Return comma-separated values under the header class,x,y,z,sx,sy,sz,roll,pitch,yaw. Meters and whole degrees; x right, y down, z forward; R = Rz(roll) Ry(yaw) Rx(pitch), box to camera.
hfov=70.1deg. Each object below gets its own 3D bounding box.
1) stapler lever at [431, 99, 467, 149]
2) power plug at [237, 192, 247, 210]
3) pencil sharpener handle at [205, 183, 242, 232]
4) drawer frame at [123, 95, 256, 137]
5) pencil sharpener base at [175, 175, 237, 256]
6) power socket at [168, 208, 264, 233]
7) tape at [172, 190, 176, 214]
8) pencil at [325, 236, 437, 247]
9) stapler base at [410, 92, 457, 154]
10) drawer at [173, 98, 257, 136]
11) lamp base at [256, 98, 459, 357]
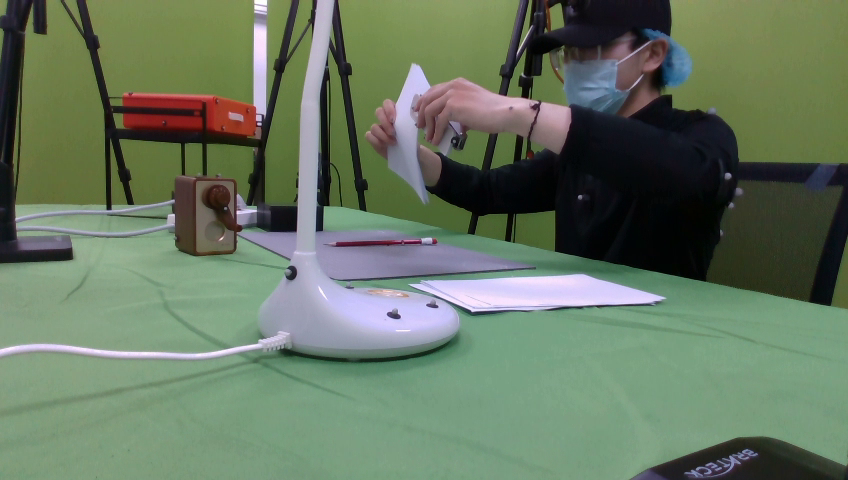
class,x,y,z,sx,sy,sz,roll,pitch,yaw
stapler lever,0.038,-0.177,0.915,0.040,0.027,0.117,-5,40,-29
power plug,-0.386,-0.071,1.204,0.072,0.052,0.035,6,9,26
pencil sharpener handle,-0.265,-0.043,0.813,0.036,0.068,0.030,-32,28,-35
drawer frame,-0.524,-0.281,1.376,0.213,0.082,0.202,3,8,8
pencil sharpener base,-0.304,-0.036,0.847,0.062,0.107,0.076,-4,10,-42
power socket,-0.381,-0.038,1.129,0.072,0.032,0.227,4,8,17
tape,-0.515,-0.087,1.388,0.117,0.052,0.117,3,7,0
pencil,-0.066,0.003,0.980,0.195,0.012,0.012,-3,9,-25
stapler base,0.017,-0.178,0.903,0.024,0.041,0.130,-4,40,-28
drawer,-0.518,-0.279,1.376,0.211,0.073,0.195,3,8,9
lamp base,-0.055,-0.013,0.463,0.160,0.180,0.180,6,11,27
